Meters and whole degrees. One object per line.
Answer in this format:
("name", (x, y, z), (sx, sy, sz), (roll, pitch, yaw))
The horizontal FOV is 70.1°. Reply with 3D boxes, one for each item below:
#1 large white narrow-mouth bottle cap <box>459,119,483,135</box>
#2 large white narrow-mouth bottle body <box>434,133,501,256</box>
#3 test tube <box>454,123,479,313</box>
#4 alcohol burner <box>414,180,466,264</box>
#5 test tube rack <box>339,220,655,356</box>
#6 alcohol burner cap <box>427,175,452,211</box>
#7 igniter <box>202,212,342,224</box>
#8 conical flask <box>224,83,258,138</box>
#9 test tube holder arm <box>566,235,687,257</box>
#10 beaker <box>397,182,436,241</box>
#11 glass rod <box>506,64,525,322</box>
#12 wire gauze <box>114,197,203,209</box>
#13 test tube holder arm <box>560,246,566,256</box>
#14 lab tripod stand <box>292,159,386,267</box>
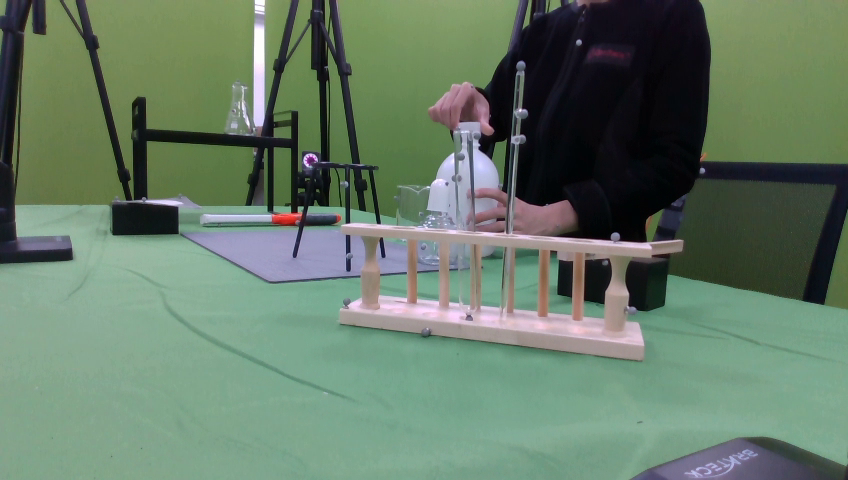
("large white narrow-mouth bottle cap", (0.072, -0.172, 0.923), (0.038, 0.024, 0.037), (2, 8, 0))
("large white narrow-mouth bottle body", (0.069, -0.078, 0.937), (0.102, 0.194, 0.102), (2, 8, 0))
("test tube", (0.034, -0.016, 0.477), (0.017, 0.150, 0.017), (-2, 9, 1))
("alcohol burner", (0.021, -0.028, 0.826), (0.078, 0.119, 0.078), (0, 6, 0))
("test tube rack", (0.056, 0.032, 0.495), (0.242, 0.085, 0.067), (4, 7, 15))
("alcohol burner cap", (0.023, -0.064, 0.822), (0.034, 0.048, 0.034), (7, 5, 0))
("igniter", (-0.298, -0.044, 1.216), (0.278, 0.025, 0.057), (-2, -2, -32))
("conical flask", (-0.422, -0.299, 1.395), (0.075, 0.122, 0.075), (2, 7, 0))
("test tube holder arm", (0.215, 0.006, 0.630), (0.179, 0.015, 0.013), (-3, 10, -30))
("beaker", (-0.012, -0.050, 1.072), (0.074, 0.100, 0.084), (1, 8, -4))
("glass rod", (0.069, -0.030, 0.458), (0.008, 0.199, 0.008), (0, 15, 0))
("wire gauze", (-0.447, -0.062, 1.015), (0.126, 0.011, 0.121), (-2, 8, -31))
("test tube holder arm", (0.173, 0.007, 0.611), (0.088, 0.015, 0.010), (-3, 9, -30))
("lab tripod stand", (-0.105, -0.039, 0.798), (0.148, 0.131, 0.148), (2, 5, 0))
